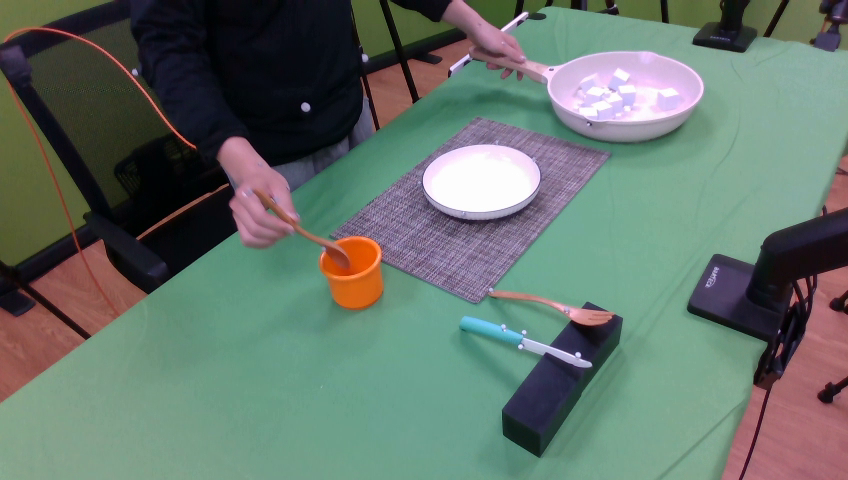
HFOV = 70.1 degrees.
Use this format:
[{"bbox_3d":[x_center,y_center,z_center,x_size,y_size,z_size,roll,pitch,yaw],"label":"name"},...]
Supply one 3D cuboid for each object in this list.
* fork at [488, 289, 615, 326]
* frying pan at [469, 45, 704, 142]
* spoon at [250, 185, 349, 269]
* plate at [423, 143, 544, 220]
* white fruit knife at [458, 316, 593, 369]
[{"bbox_3d":[0.160,0.086,0.800,0.205,0.019,0.028,12,48,48],"label":"fork"},{"bbox_3d":[0.307,-0.326,1.239,0.485,0.103,0.307,26,49,22],"label":"frying pan"},{"bbox_3d":[-0.159,-0.013,0.796,0.041,0.195,0.021,11,69,38],"label":"spoon"},{"bbox_3d":[0.102,-0.097,1.048,0.207,0.039,0.206,-4,40,4],"label":"plate"},{"bbox_3d":[0.120,0.127,0.757,0.205,0.027,0.016,12,44,43],"label":"white fruit knife"}]
